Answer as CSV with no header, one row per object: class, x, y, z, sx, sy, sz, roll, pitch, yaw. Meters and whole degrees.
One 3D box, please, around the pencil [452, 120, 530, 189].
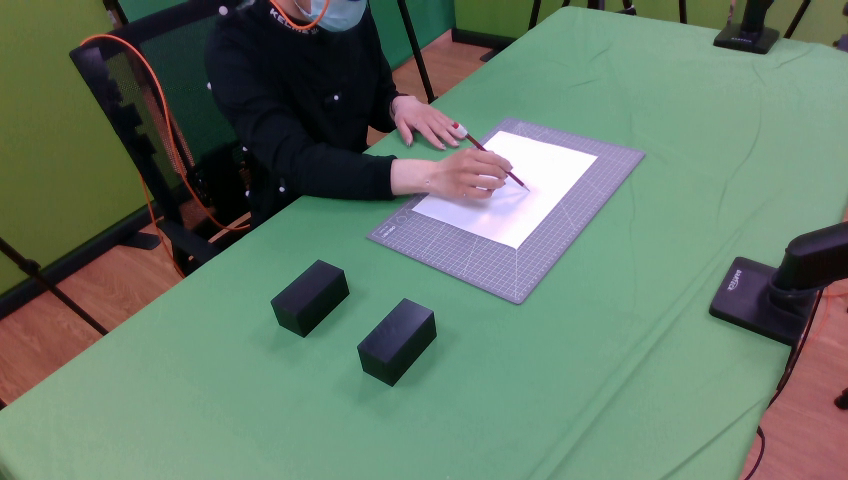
pencil,0.116,-0.139,1.007,0.012,0.195,0.012,-36,34,30
